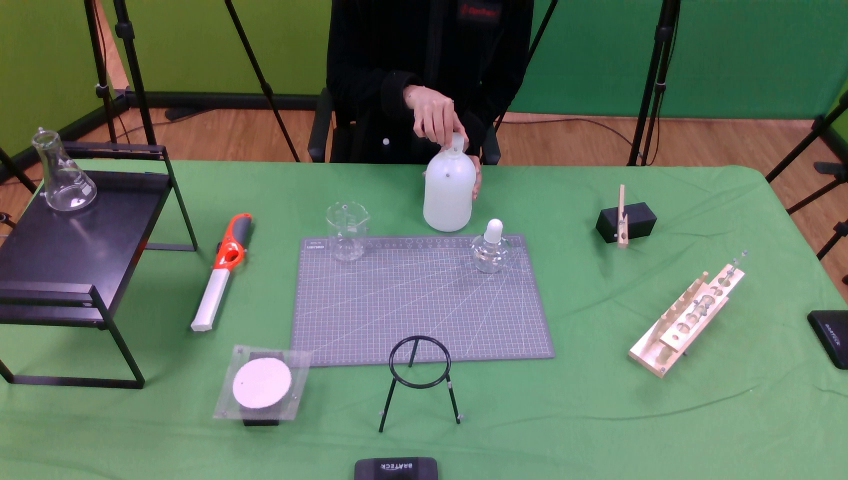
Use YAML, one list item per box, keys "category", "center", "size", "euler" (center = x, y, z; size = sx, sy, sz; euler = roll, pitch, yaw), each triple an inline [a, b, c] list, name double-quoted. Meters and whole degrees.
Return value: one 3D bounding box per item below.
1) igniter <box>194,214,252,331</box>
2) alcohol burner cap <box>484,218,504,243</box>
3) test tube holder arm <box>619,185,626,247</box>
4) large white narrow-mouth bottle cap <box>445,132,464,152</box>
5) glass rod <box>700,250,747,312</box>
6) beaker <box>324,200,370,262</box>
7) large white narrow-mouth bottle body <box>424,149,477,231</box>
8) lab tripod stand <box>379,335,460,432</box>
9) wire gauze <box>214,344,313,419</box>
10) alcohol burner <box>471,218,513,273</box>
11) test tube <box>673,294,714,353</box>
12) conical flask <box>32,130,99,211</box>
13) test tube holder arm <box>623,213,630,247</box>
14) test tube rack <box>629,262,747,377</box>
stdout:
- category: "igniter"
  center: [-0.367, 0.050, 1.119]
  size: [0.057, 0.025, 0.275]
  euler: [-4, 45, 7]
- category: "alcohol burner cap"
  center: [0.130, -0.021, 1.106]
  size: [0.034, 0.048, 0.033]
  euler: [3, 51, -4]
- category: "test tube holder arm"
  center: [0.397, -0.052, 1.210]
  size: [0.013, 0.015, 0.177]
  euler: [14, 46, 3]
- category: "large white narrow-mouth bottle cap"
  center: [0.057, -0.181, 1.121]
  size: [0.038, 0.024, 0.037]
  euler: [2, 46, -2]
- category: "glass rod"
  center: [0.500, 0.075, 1.021]
  size: [0.008, 0.201, 0.008]
  euler: [0, 54, 1]
- category: "beaker"
  center: [-0.143, -0.015, 1.142]
  size: [0.084, 0.101, 0.073]
  euler: [1, 46, -4]
- category: "large white narrow-mouth bottle body"
  center: [0.054, -0.115, 1.191]
  size: [0.102, 0.195, 0.101]
  euler: [2, 46, -2]
- category: "lab tripod stand"
  center: [-0.011, 0.214, 0.911]
  size: [0.148, 0.132, 0.147]
  euler: [1, 45, 0]
- category: "wire gauze"
  center: [-0.241, 0.213, 0.916]
  size: [0.121, 0.011, 0.124]
  euler: [5, 46, 1]
- category: "alcohol burner"
  center: [0.128, 0.005, 1.132]
  size: [0.078, 0.120, 0.077]
  euler: [0, 47, 0]
- category: "test tube"
  center: [0.428, 0.137, 0.978]
  size: [0.017, 0.151, 0.017]
  euler: [4, 47, -4]
- category: "conical flask"
  center: [-0.565, -0.111, 0.944]
  size: [0.075, 0.122, 0.075]
  euler: [2, 46, -2]
- category: "test tube holder arm"
  center: [0.393, -0.020, 1.179]
  size: [0.010, 0.015, 0.087]
  euler: [13, 46, 2]
- category: "test tube rack"
  center: [0.464, 0.126, 1.060]
  size: [0.242, 0.085, 0.066]
  euler: [-34, 56, -31]
